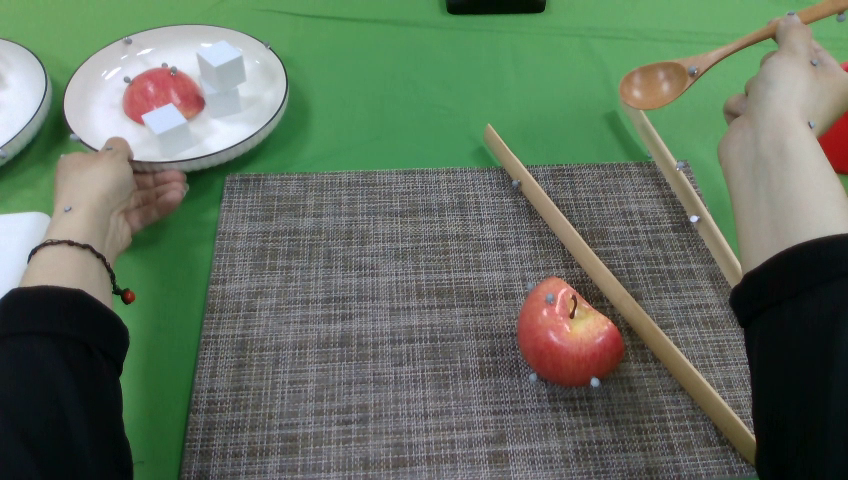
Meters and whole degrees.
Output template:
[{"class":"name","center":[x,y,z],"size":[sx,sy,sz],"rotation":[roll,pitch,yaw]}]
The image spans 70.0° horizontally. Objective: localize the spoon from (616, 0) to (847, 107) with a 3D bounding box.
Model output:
[{"class":"spoon","center":[0.244,-0.152,0.464],"size":[0.193,0.022,0.041],"rotation":[-22,67,21]}]

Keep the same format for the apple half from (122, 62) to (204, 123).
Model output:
[{"class":"apple half","center":[-0.258,-0.152,0.596],"size":[0.081,0.033,0.080],"rotation":[2,51,-2]}]

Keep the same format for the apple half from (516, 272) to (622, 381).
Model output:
[{"class":"apple half","center":[0.099,0.072,0.450],"size":[0.053,0.075,0.080],"rotation":[-37,68,-19]}]

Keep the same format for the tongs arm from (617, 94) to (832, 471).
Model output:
[{"class":"tongs arm","center":[0.235,0.001,0.528],"size":[0.051,0.027,0.380],"rotation":[-12,58,-12]}]

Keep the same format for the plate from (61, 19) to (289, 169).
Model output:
[{"class":"plate","center":[-0.237,-0.143,0.598],"size":[0.209,0.038,0.207],"rotation":[3,53,-4]}]

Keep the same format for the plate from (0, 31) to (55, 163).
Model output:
[{"class":"plate","center":[-0.463,-0.123,0.582],"size":[0.208,0.039,0.205],"rotation":[1,56,-1]}]

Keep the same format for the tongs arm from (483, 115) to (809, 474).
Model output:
[{"class":"tongs arm","center":[0.158,0.025,0.509],"size":[0.028,0.028,0.383],"rotation":[-22,60,-22]}]

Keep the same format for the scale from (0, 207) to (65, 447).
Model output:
[{"class":"scale","center":[-0.367,0.065,0.465],"size":[0.149,0.032,0.199],"rotation":[-7,57,-6]}]
